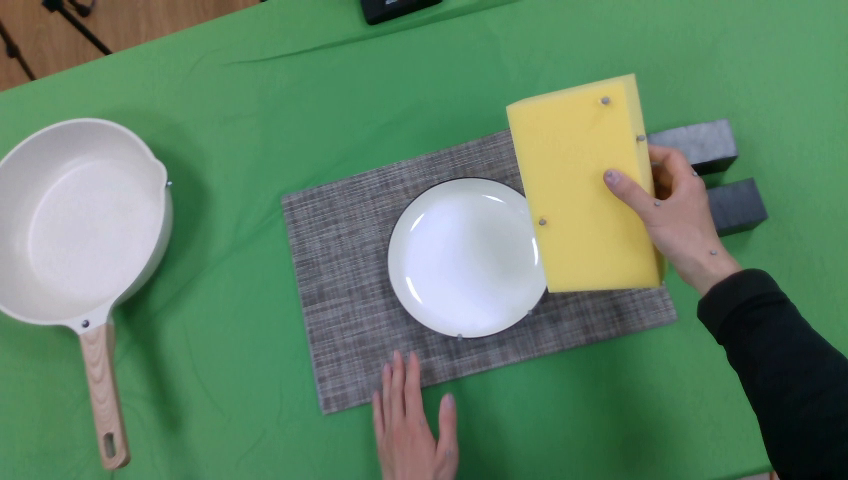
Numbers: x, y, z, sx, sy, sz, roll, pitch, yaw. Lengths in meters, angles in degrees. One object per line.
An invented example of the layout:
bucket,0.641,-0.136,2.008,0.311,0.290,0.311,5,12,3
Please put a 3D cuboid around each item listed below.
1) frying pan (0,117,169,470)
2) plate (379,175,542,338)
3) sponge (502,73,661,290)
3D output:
frying pan,-0.449,0.062,0.799,0.307,0.103,0.483,-24,65,4
plate,0.049,0.022,0.762,0.207,0.039,0.206,-2,76,8
sponge,0.167,-0.056,0.630,0.118,0.061,0.208,-8,106,30
